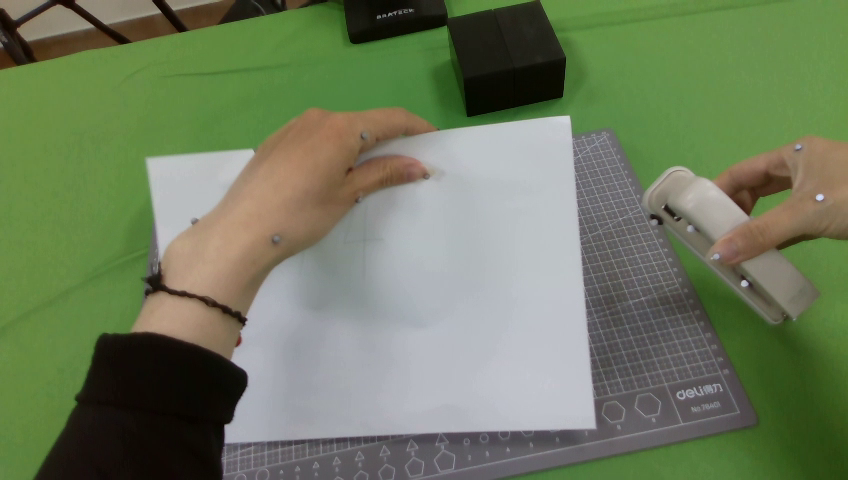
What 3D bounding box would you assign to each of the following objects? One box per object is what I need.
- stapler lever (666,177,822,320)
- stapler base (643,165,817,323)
[{"bbox_3d":[0.207,0.006,0.391,0.118,0.040,0.027,43,103,3],"label":"stapler lever"},{"bbox_3d":[0.210,0.003,0.415,0.130,0.024,0.041,42,103,1],"label":"stapler base"}]
